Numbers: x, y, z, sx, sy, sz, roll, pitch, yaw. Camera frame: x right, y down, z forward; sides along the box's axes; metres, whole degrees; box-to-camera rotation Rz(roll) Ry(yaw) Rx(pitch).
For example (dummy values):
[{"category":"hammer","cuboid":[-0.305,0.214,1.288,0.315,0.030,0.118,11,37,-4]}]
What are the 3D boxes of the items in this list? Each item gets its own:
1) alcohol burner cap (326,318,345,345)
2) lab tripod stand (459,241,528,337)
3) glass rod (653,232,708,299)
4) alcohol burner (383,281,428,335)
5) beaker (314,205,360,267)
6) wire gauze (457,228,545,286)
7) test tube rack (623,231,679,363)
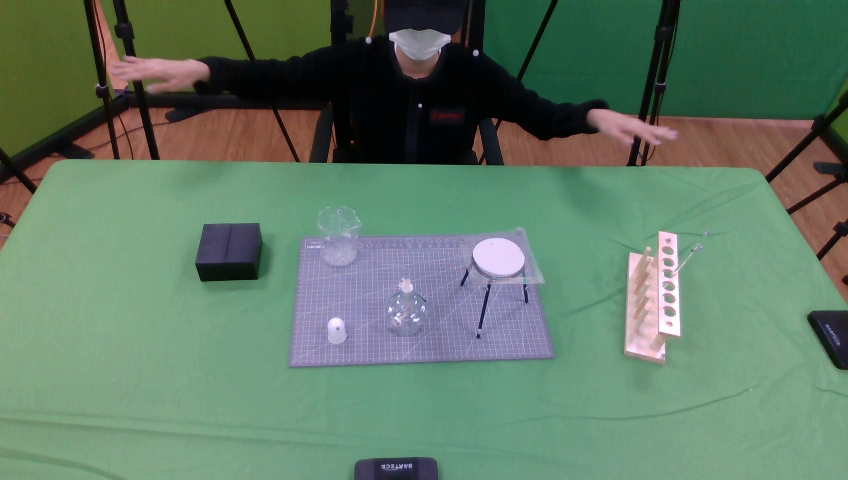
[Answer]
[{"category":"alcohol burner cap","cuboid":[-0.149,0.151,1.023,0.034,0.048,0.033,3,46,-3]},{"category":"lab tripod stand","cuboid":[0.122,0.075,1.054,0.148,0.132,0.147,3,44,-3]},{"category":"glass rod","cuboid":[0.441,0.049,1.050,0.008,0.200,0.008,4,52,-6]},{"category":"alcohol burner","cuboid":[-0.030,0.108,1.024,0.078,0.119,0.077,2,48,-2]},{"category":"beaker","cuboid":[-0.160,-0.004,1.132,0.084,0.101,0.073,9,46,3]},{"category":"wire gauze","cuboid":[0.126,0.028,1.006,0.125,0.011,0.120,-4,46,-10]},{"category":"test tube rack","cuboid":[0.410,0.094,1.096,0.066,0.085,0.241,13,46,9]}]
